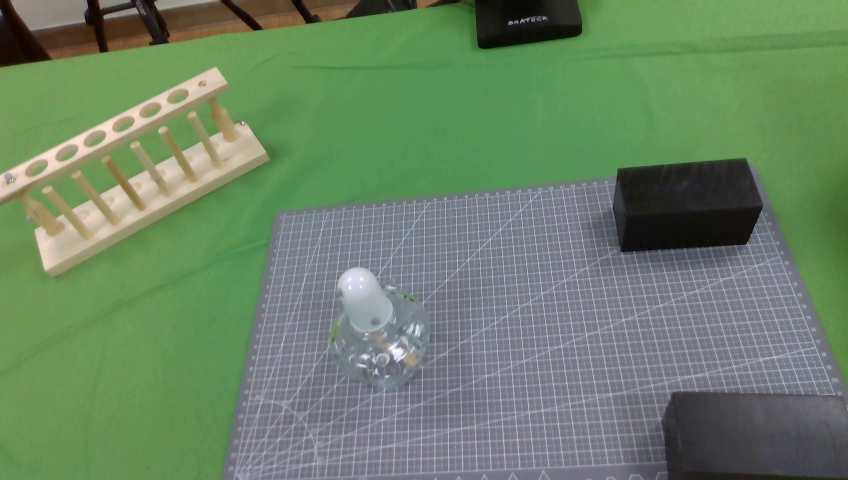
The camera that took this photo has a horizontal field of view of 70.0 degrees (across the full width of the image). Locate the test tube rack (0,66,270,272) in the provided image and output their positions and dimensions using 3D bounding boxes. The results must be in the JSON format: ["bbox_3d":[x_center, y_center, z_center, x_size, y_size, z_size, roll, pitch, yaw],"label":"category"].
[{"bbox_3d":[-0.290,-0.073,0.611,0.242,0.086,0.066,-31,55,-12],"label":"test tube rack"}]

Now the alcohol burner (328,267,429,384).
[{"bbox_3d":[-0.037,0.057,0.445,0.078,0.120,0.077,-6,52,7],"label":"alcohol burner"}]

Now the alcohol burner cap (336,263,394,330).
[{"bbox_3d":[-0.042,0.037,0.417,0.034,0.048,0.033,-9,49,11],"label":"alcohol burner cap"}]
